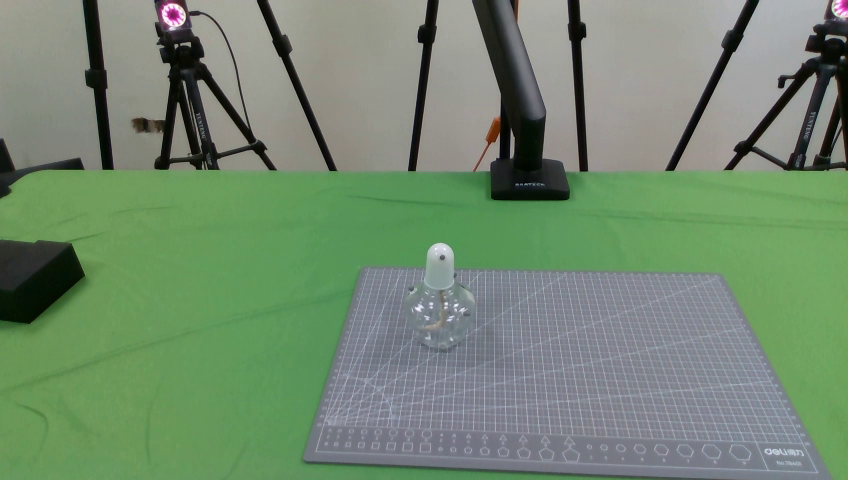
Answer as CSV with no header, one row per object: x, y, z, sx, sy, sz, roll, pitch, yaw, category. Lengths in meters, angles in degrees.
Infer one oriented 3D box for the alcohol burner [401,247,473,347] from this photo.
0.014,0.054,0.641,0.078,0.120,0.077,0,34,0,alcohol burner

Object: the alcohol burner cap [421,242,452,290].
0.014,0.024,0.621,0.034,0.048,0.033,3,35,-2,alcohol burner cap
